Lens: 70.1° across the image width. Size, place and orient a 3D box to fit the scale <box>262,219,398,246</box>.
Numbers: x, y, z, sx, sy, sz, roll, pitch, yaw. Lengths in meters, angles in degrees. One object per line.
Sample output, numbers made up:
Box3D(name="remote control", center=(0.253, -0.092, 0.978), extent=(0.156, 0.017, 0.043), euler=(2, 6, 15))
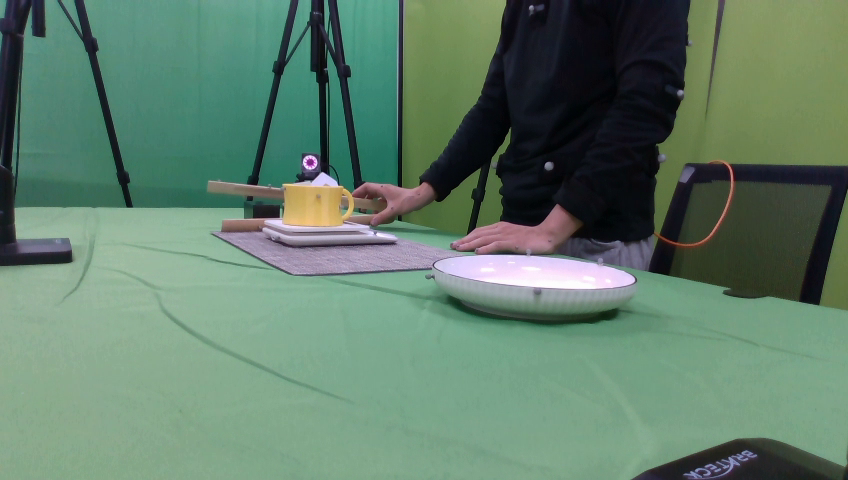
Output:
Box3D(name="scale", center=(-0.160, -0.016, 1.028), extent=(0.202, 0.031, 0.148), euler=(-1, 9, -32))

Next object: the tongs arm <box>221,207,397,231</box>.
Box3D(name="tongs arm", center=(-0.208, -0.041, 1.196), extent=(0.390, 0.028, 0.028), euler=(-5, 29, -38))

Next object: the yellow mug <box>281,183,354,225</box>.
Box3D(name="yellow mug", center=(-0.172, -0.061, 1.009), extent=(0.131, 0.064, 0.099), euler=(-2, 7, -41))

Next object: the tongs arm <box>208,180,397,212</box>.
Box3D(name="tongs arm", center=(-0.243, -0.084, 1.256), extent=(0.387, 0.026, 0.050), euler=(4, 28, -27))

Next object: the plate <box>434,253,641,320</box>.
Box3D(name="plate", center=(0.114, 0.047, 0.625), extent=(0.208, 0.039, 0.207), euler=(2, 7, 0))
